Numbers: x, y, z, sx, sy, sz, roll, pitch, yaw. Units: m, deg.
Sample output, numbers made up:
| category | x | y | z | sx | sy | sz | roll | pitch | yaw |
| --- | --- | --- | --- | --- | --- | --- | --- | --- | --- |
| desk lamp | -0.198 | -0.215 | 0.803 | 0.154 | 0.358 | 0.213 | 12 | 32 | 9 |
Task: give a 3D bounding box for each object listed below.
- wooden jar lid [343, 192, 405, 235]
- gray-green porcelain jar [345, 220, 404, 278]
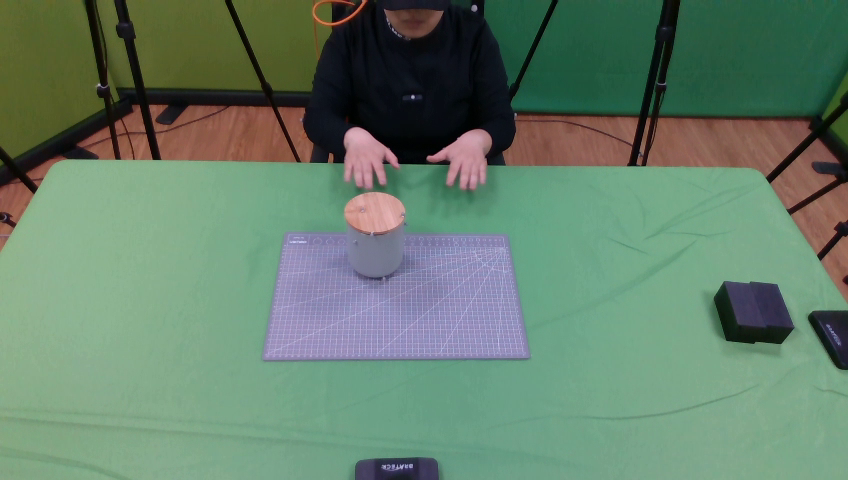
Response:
| category | x | y | z | sx | sy | sz | roll | pitch | yaw |
| --- | --- | --- | --- | --- | --- | --- | --- | --- | --- |
| wooden jar lid | -0.088 | -0.044 | 1.072 | 0.108 | 0.021 | 0.107 | 3 | 45 | -3 |
| gray-green porcelain jar | -0.091 | -0.001 | 1.117 | 0.106 | 0.127 | 0.105 | 2 | 46 | -2 |
